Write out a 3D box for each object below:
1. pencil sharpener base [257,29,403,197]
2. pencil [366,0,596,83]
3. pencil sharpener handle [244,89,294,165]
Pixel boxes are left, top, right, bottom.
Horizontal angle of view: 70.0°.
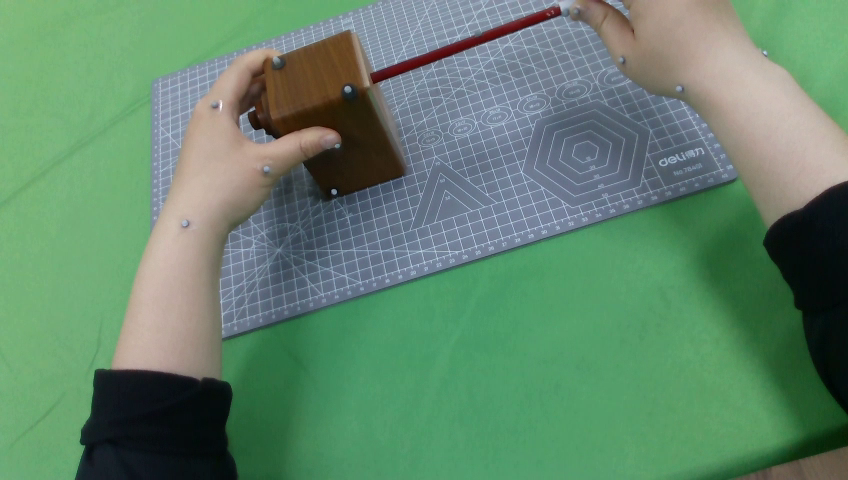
[{"bbox_3d":[-0.069,-0.090,0.455,0.076,0.108,0.061,-19,60,5],"label":"pencil sharpener base"},{"bbox_3d":[0.025,-0.137,0.422,0.194,0.012,0.012,-18,60,8],"label":"pencil"},{"bbox_3d":[-0.120,-0.079,0.449,0.030,0.068,0.035,-19,62,5],"label":"pencil sharpener handle"}]
